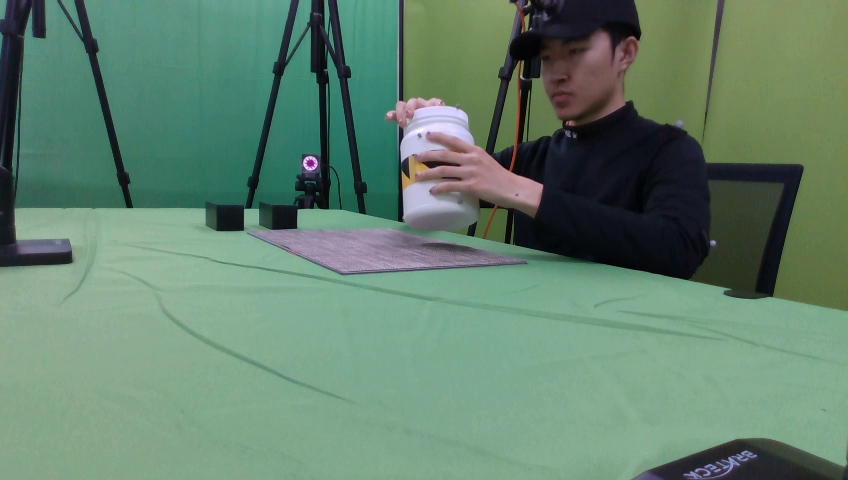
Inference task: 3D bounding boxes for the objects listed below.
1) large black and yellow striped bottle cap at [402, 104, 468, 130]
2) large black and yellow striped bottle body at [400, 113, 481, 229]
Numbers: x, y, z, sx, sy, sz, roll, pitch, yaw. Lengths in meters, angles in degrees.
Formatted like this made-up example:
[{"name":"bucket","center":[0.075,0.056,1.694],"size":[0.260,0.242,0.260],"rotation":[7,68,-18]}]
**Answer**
[{"name":"large black and yellow striped bottle cap","center":[0.019,-0.206,1.058],"size":[0.115,0.019,0.115],"rotation":[-1,-13,0]},{"name":"large black and yellow striped bottle body","center":[0.026,-0.121,1.039],"size":[0.131,0.183,0.131],"rotation":[-4,-13,0]}]
